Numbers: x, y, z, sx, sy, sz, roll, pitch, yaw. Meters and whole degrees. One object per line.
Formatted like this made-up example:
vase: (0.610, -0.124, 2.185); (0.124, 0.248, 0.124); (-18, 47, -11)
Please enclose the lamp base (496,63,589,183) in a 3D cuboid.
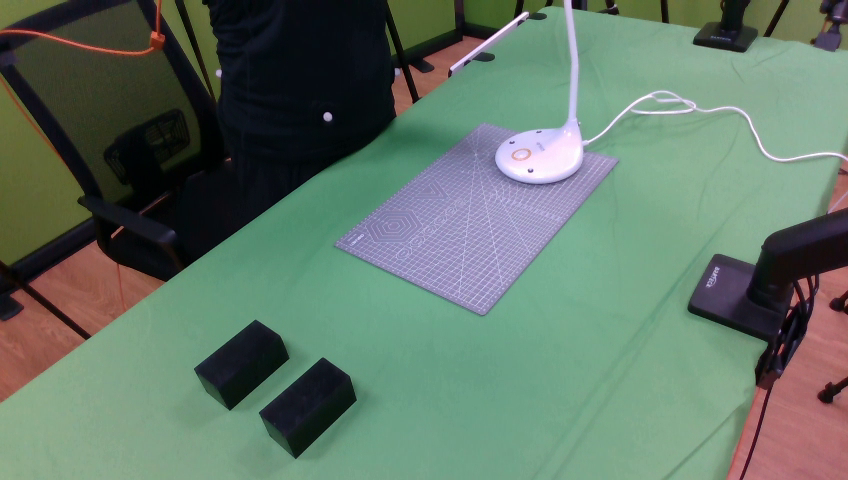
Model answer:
lamp base: (0.216, -0.217, 1.066); (0.180, 0.181, 0.159); (-19, 42, -18)
